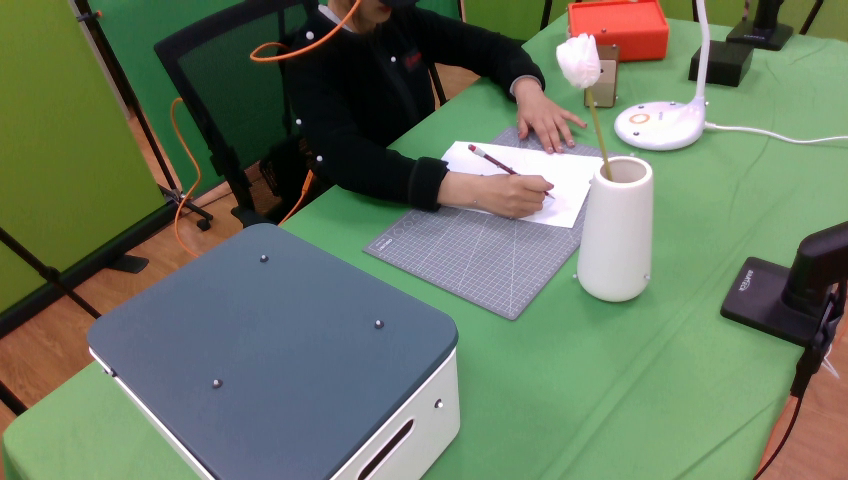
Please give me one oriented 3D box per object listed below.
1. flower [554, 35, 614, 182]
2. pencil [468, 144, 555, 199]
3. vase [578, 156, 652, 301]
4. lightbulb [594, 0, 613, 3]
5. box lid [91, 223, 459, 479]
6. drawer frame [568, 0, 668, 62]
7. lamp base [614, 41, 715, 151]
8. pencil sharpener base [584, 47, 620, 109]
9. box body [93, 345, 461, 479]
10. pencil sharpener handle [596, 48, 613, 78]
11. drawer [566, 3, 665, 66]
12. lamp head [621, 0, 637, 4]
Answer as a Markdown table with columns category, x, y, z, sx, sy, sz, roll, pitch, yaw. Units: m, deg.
| category | x | y | z | sx | sy | sz | roll | pitch | yaw |
| --- | --- | --- | --- | --- | --- | --- | --- | --- | --- |
| flower | 0.237 | -0.083 | 0.774 | 0.044 | 0.363 | 0.038 | -22 | 26 | 6 |
| pencil | 0.148 | -0.109 | 0.990 | 0.195 | 0.012 | 0.012 | 26 | 30 | -28 |
| vase | 0.261 | -0.011 | 0.812 | 0.098 | 0.201 | 0.097 | -4 | 40 | 4 |
| lightbulb | 0.305 | -0.437 | 0.978 | 0.060 | 0.107 | 0.059 | 12 | 43 | -11 |
| box lid | -0.174 | 0.103 | 0.667 | 0.368 | 0.015 | 0.264 | 24 | 48 | 35 |
| drawer frame | 0.450 | -0.495 | 1.441 | 0.213 | 0.083 | 0.201 | -1 | 40 | 9 |
| lamp base | 0.449 | -0.277 | 1.106 | 0.179 | 0.181 | 0.160 | 1 | 41 | 9 |
| pencil sharpener base | 0.368 | -0.336 | 1.249 | 0.061 | 0.107 | 0.076 | 6 | 42 | 19 |
| box body | -0.162 | 0.170 | 0.708 | 0.361 | 0.161 | 0.255 | 25 | 50 | 34 |
| pencil sharpener handle | 0.382 | -0.378 | 1.276 | 0.036 | 0.068 | 0.030 | 4 | 42 | 20 |
| drawer | 0.447 | -0.493 | 1.440 | 0.211 | 0.073 | 0.194 | 0 | 40 | 10 |
| lamp head | 0.319 | -0.453 | 0.962 | 0.113 | 0.123 | 0.112 | 20 | 33 | -13 |
